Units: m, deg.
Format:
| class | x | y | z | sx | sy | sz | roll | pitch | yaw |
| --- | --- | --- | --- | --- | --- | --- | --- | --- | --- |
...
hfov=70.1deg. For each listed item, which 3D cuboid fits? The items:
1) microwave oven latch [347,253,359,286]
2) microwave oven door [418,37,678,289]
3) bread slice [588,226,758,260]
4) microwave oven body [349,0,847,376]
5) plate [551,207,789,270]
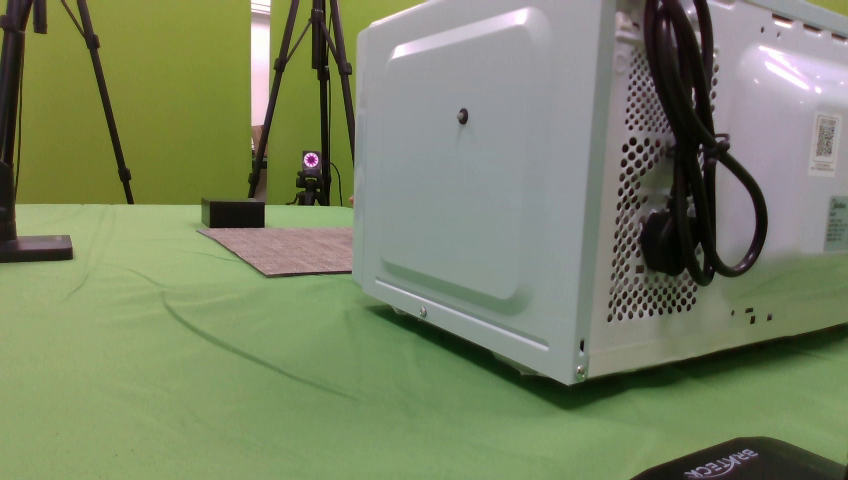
| class | x | y | z | sx | sy | sz | roll | pitch | yaw |
| --- | --- | --- | --- | --- | --- | --- | --- | --- | --- |
| microwave oven latch | -0.034 | 0.028 | 0.581 | 0.079 | 0.029 | 0.030 | -1 | 7 | -32 |
| microwave oven door | 0.159 | -0.079 | 0.684 | 0.358 | 0.243 | 0.039 | -2 | 9 | -32 |
| bread slice | 0.226 | 0.002 | 0.569 | 0.132 | 0.019 | 0.104 | 4 | 5 | -23 |
| microwave oven body | 0.199 | -0.053 | 0.540 | 0.444 | 0.260 | 0.324 | -1 | 7 | -32 |
| plate | 0.224 | -0.004 | 0.572 | 0.209 | 0.038 | 0.209 | 3 | 8 | 0 |
